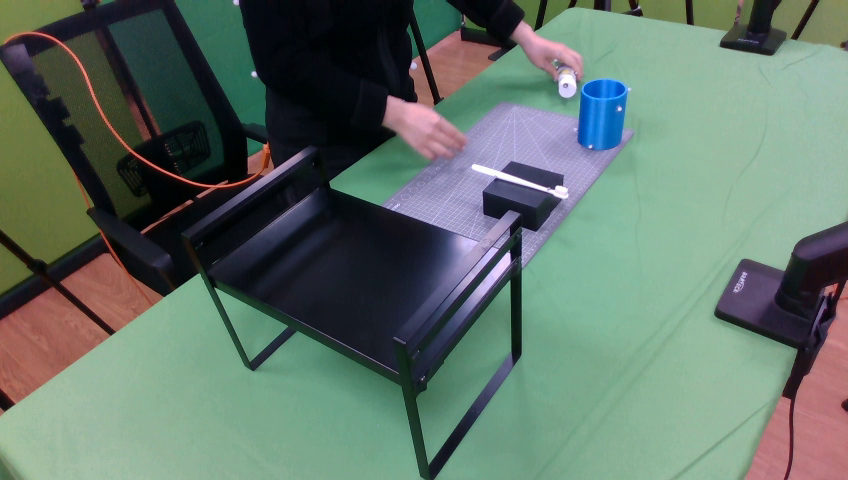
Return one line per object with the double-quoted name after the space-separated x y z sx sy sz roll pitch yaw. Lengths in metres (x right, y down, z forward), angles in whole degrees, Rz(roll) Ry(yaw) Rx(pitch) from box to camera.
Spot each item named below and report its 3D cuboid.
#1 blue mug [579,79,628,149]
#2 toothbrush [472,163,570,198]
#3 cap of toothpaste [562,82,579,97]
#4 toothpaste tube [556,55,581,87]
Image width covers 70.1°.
0.336 -0.246 1.143 0.082 0.106 0.116 0 41 10 "blue mug"
0.157 -0.101 0.996 0.180 0.017 0.014 21 54 30 "toothbrush"
0.307 -0.317 1.269 0.037 0.037 0.011 0 42 9 "cap of toothpaste"
0.320 -0.369 1.327 0.055 0.034 0.164 3 42 7 "toothpaste tube"
